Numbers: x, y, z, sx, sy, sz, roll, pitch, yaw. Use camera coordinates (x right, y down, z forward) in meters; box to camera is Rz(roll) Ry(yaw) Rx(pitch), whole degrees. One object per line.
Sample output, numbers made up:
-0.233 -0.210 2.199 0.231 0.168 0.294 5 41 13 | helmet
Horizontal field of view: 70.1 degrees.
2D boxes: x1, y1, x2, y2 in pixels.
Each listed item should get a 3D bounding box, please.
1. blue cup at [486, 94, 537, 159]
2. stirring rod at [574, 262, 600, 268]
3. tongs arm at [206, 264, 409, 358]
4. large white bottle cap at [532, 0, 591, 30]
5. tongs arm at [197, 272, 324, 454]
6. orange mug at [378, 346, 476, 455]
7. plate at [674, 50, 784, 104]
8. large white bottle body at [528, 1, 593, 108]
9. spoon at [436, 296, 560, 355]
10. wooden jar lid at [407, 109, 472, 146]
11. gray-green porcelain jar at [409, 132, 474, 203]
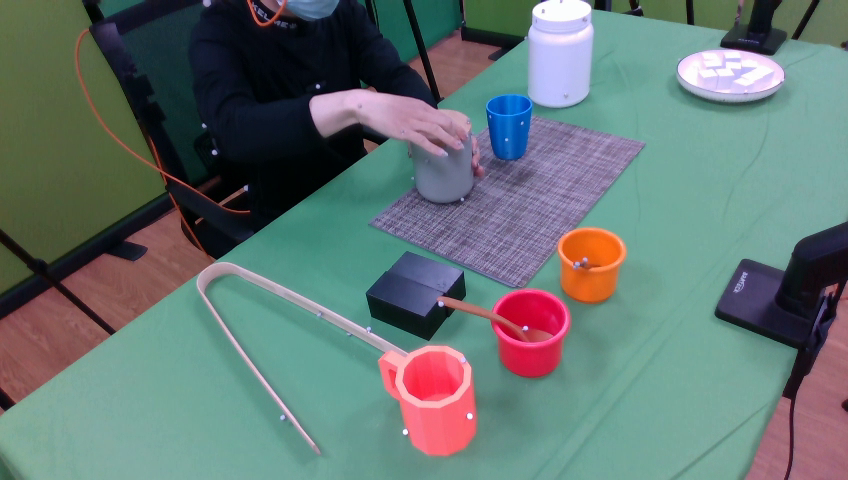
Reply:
0.160 -0.208 1.129 0.092 0.100 0.092 -4 39 4 | blue cup
0.222 0.033 0.816 0.014 0.006 0.177 8 1 22 | stirring rod
-0.179 0.107 0.870 0.382 0.027 0.051 23 54 32 | tongs arm
0.274 -0.449 1.204 0.115 0.018 0.114 -4 41 4 | large white bottle cap
-0.236 0.155 0.830 0.028 0.028 0.384 -37 48 -18 | tongs arm
0.002 0.179 0.709 0.125 0.101 0.083 25 50 27 | orange mug
0.631 -0.336 1.262 0.207 0.039 0.206 -4 41 4 | plate
0.282 -0.386 1.259 0.130 0.185 0.130 -5 41 4 | large white bottle body
0.095 0.102 0.750 0.195 0.021 0.041 28 31 -28 | spoon
0.026 -0.183 1.006 0.108 0.021 0.108 -2 42 2 | wooden jar lid
0.033 -0.137 1.046 0.106 0.127 0.105 -4 41 4 | gray-green porcelain jar
